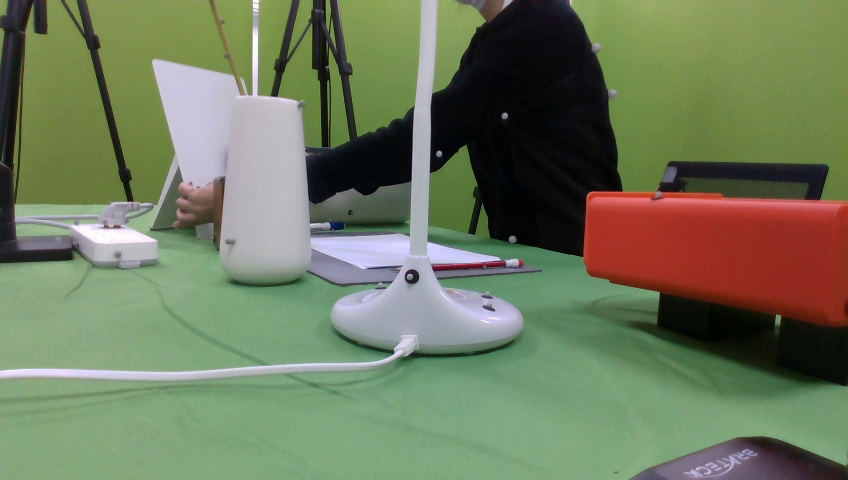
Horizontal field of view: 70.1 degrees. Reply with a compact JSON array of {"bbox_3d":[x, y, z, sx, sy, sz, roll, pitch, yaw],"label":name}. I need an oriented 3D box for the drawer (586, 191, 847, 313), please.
[{"bbox_3d":[0.282,0.001,0.513,0.195,0.073,0.210,-1,8,-29],"label":"drawer"}]

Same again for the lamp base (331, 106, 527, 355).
[{"bbox_3d":[0.006,-0.012,0.478,0.161,0.180,0.179,2,10,2],"label":"lamp base"}]

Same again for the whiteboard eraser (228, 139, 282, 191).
[{"bbox_3d":[-0.307,-0.135,1.101,0.041,0.055,0.113,-17,-25,23],"label":"whiteboard eraser"}]

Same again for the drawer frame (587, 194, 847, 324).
[{"bbox_3d":[0.285,0.004,0.508,0.203,0.082,0.212,-1,6,-29],"label":"drawer frame"}]

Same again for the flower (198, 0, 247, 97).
[{"bbox_3d":[-0.187,-0.133,0.648,0.038,0.362,0.044,-1,21,43],"label":"flower"}]

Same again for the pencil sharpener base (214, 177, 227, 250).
[{"bbox_3d":[-0.265,-0.036,0.870,0.061,0.107,0.076,-2,8,-29],"label":"pencil sharpener base"}]

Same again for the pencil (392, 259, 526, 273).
[{"bbox_3d":[0.049,0.035,0.782,0.195,0.012,0.012,-2,9,-25],"label":"pencil"}]

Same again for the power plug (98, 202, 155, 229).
[{"bbox_3d":[-0.416,-0.026,0.848,0.073,0.052,0.035,0,8,-28],"label":"power plug"}]

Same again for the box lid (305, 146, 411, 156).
[{"bbox_3d":[-0.229,-0.200,1.360,0.373,0.015,0.262,-3,9,-33],"label":"box lid"}]

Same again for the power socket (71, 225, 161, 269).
[{"bbox_3d":[-0.408,0.004,0.793,0.072,0.032,0.225,-2,8,-38],"label":"power socket"}]

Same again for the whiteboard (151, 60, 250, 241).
[{"bbox_3d":[-0.408,-0.139,1.094,0.143,0.305,0.218,-15,0,26],"label":"whiteboard"}]

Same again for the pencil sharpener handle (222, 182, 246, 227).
[{"bbox_3d":[-0.290,-0.055,0.912,0.036,0.067,0.030,-1,8,-29],"label":"pencil sharpener handle"}]

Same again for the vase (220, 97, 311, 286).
[{"bbox_3d":[-0.172,-0.052,0.662,0.098,0.200,0.098,3,8,0],"label":"vase"}]

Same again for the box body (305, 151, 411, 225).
[{"bbox_3d":[-0.230,-0.126,1.371,0.366,0.160,0.253,-2,9,-33],"label":"box body"}]

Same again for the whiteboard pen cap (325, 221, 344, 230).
[{"bbox_3d":[-0.166,-0.027,1.124,0.018,0.018,0.033,9,9,39],"label":"whiteboard pen cap"}]
